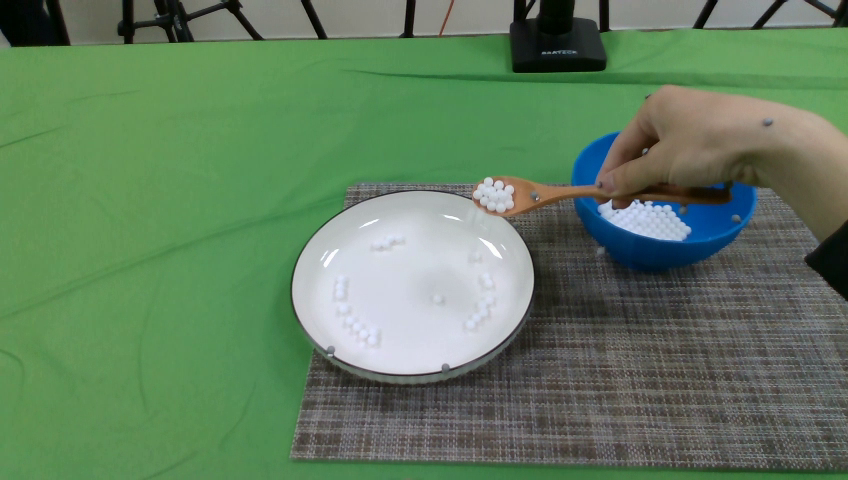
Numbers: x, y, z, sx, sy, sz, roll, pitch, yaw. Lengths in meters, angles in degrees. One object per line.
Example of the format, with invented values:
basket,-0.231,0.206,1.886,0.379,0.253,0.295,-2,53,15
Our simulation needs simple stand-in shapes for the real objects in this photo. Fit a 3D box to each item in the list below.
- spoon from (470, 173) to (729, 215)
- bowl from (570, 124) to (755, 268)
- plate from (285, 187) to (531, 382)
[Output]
spoon,0.119,-0.034,0.449,0.192,0.022,0.041,3,54,39
bowl,0.203,-0.028,0.542,0.151,0.077,0.150,-2,47,2
plate,-0.013,0.036,0.526,0.207,0.039,0.205,-2,47,2
